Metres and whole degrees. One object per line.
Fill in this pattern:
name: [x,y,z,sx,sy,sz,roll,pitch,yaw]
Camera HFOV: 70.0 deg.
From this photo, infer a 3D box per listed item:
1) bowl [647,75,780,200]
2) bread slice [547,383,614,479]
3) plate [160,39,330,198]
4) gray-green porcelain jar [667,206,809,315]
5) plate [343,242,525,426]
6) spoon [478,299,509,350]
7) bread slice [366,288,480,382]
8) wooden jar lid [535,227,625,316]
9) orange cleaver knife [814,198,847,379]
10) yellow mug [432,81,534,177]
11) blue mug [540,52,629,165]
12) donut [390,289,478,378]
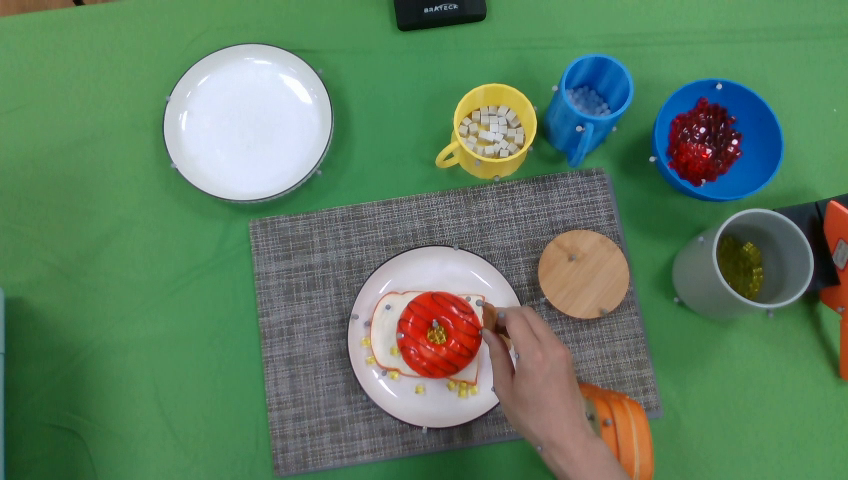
bowl: [0.336,-0.113,0.736,0.151,0.077,0.150,0,78,0]
bread slice: [0.162,0.203,0.639,0.018,0.134,0.106,-1,76,-9]
plate: [-0.219,-0.149,0.757,0.208,0.039,0.206,0,78,-1]
gray-green porcelain jar: [0.343,0.029,0.682,0.106,0.127,0.105,0,78,-1]
plate: [0.012,0.106,0.702,0.209,0.038,0.208,0,78,0]
spoon: [0.066,0.087,0.608,0.041,0.195,0.021,34,82,16]
bread slice: [-0.002,0.107,0.705,0.132,0.019,0.104,5,77,-3]
wooden jar lid: [0.186,0.038,0.728,0.108,0.021,0.108,0,79,-1]
orange cleaver knife: [0.477,0.057,0.699,0.012,0.076,0.212,-11,108,-2]
yellow mug: [0.067,-0.127,0.742,0.131,0.064,0.099,-30,79,-5]
blue mug: [0.187,-0.148,0.728,0.082,0.106,0.116,11,78,2]
donut: [0.012,0.103,0.673,0.099,0.048,0.098,0,78,-1]
